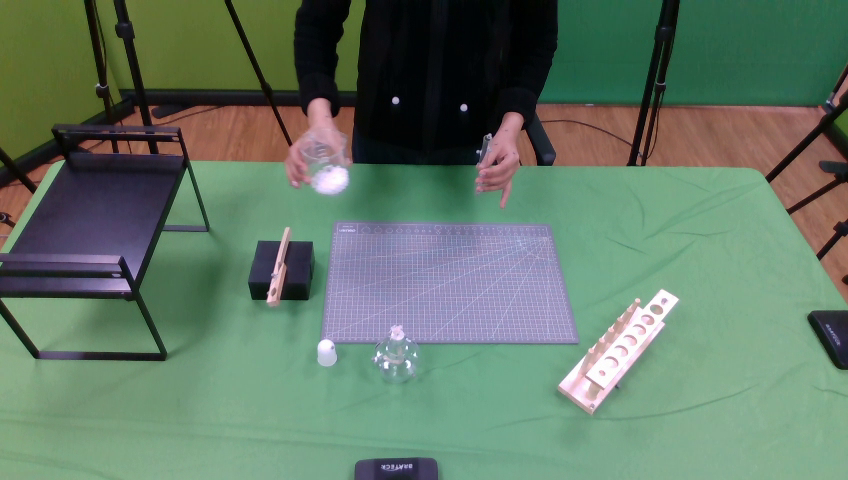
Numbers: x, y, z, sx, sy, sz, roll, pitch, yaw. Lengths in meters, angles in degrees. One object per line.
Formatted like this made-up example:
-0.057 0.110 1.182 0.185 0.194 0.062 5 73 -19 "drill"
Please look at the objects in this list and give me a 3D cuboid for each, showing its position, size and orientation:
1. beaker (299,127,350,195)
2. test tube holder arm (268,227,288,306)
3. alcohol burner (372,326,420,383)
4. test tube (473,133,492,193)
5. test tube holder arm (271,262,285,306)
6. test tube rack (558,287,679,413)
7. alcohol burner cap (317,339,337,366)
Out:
-0.164 -0.132 1.036 0.084 0.101 0.073 -28 59 -19 "beaker"
-0.258 0.043 1.071 0.013 0.015 0.177 -6 46 2 "test tube holder arm"
-0.045 0.175 0.961 0.078 0.120 0.077 1 47 -1 "alcohol burner"
0.104 -0.136 1.096 0.017 0.151 0.017 2 56 -3 "test tube"
-0.250 0.075 1.039 0.010 0.015 0.087 -5 46 2 "test tube holder arm"
0.326 0.170 1.009 0.066 0.085 0.242 36 54 27 "test tube rack"
-0.161 0.182 0.995 0.034 0.048 0.033 2 47 -1 "alcohol burner cap"
